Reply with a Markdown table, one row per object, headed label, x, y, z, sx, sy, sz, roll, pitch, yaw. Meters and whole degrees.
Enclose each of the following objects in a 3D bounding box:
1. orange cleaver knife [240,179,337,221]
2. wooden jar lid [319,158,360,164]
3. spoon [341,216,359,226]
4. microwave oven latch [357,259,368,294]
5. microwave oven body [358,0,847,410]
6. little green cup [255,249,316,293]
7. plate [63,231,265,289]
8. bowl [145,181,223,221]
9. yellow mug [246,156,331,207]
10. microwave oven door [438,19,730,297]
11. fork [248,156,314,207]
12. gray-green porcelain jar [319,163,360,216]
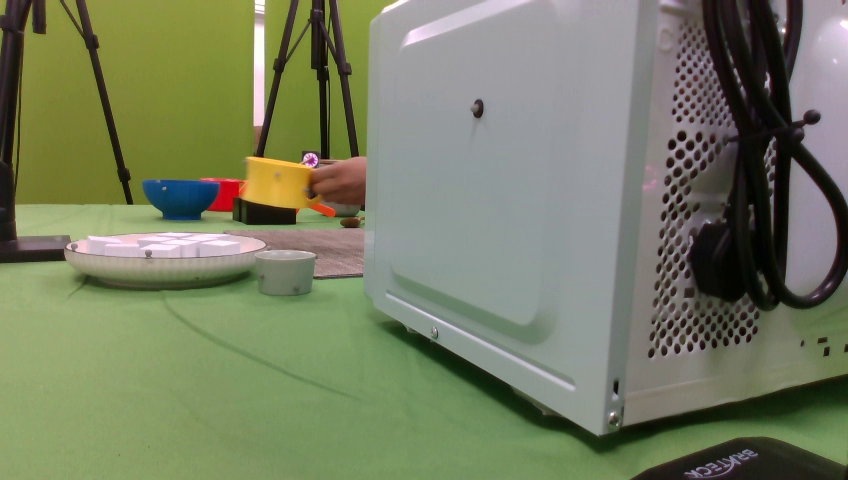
| label | x | y | z | sx | sy | sz | roll | pitch | yaw |
| --- | --- | --- | --- | --- | --- | --- | --- | --- | --- |
| orange cleaver knife | -0.286 | -0.082 | 1.298 | 0.212 | 0.077 | 0.012 | 25 | -2 | -31 |
| wooden jar lid | -0.203 | -0.189 | 1.481 | 0.108 | 0.020 | 0.108 | 2 | 10 | 0 |
| spoon | -0.132 | -0.048 | 1.305 | 0.041 | 0.021 | 0.194 | -14 | 4 | 14 |
| microwave oven latch | -0.019 | 0.031 | 0.530 | 0.079 | 0.029 | 0.030 | -1 | 7 | -27 |
| microwave oven body | 0.210 | -0.051 | 0.471 | 0.444 | 0.260 | 0.324 | -1 | 7 | -28 |
| little green cup | -0.144 | 0.031 | 0.627 | 0.061 | 0.038 | 0.061 | 2 | 6 | 0 |
| plate | -0.288 | 0.021 | 0.687 | 0.208 | 0.039 | 0.207 | 2 | 8 | 0 |
| bowl | -0.499 | -0.081 | 1.261 | 0.151 | 0.077 | 0.151 | 2 | 7 | 0 |
| yellow mug | -0.208 | -0.090 | 0.950 | 0.131 | 0.064 | 0.099 | 4 | 9 | -32 |
| microwave oven door | 0.181 | -0.076 | 0.618 | 0.358 | 0.243 | 0.039 | -2 | 8 | -28 |
| fork | -0.360 | -0.147 | 1.523 | 0.207 | 0.019 | 0.028 | -43 | 17 | -7 |
| gray-green porcelain jar | -0.204 | -0.126 | 1.489 | 0.106 | 0.126 | 0.106 | 2 | 7 | 0 |
